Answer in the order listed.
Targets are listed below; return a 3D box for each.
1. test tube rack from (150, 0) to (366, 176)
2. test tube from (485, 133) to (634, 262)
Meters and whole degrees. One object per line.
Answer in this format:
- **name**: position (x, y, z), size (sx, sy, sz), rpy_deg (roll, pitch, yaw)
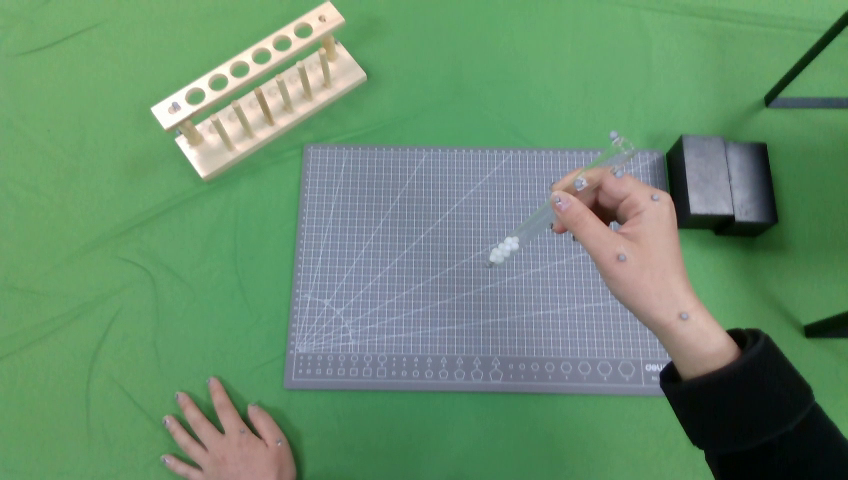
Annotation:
- **test tube rack**: position (-0.191, -0.183, 0.732), size (0.242, 0.085, 0.066), rpy_deg (-35, 76, -11)
- **test tube**: position (0.092, -0.025, 0.440), size (0.017, 0.150, 0.017), rpy_deg (20, 48, -24)
